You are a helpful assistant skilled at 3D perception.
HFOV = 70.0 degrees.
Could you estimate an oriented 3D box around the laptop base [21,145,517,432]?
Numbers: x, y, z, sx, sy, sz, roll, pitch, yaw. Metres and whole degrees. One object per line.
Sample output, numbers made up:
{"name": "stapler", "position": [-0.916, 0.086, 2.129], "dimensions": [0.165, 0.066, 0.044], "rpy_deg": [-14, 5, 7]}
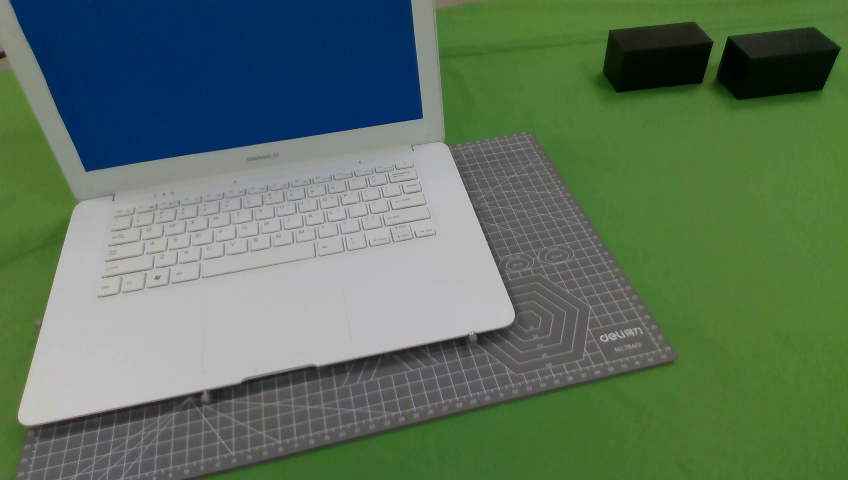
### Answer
{"name": "laptop base", "position": [-0.124, 0.022, 0.508], "dimensions": [0.355, 0.023, 0.233], "rpy_deg": [-11, 48, -7]}

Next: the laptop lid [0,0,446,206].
{"name": "laptop lid", "position": [-0.160, -0.155, 0.523], "dimensions": [0.357, 0.244, 0.013], "rpy_deg": [-12, 35, -6]}
